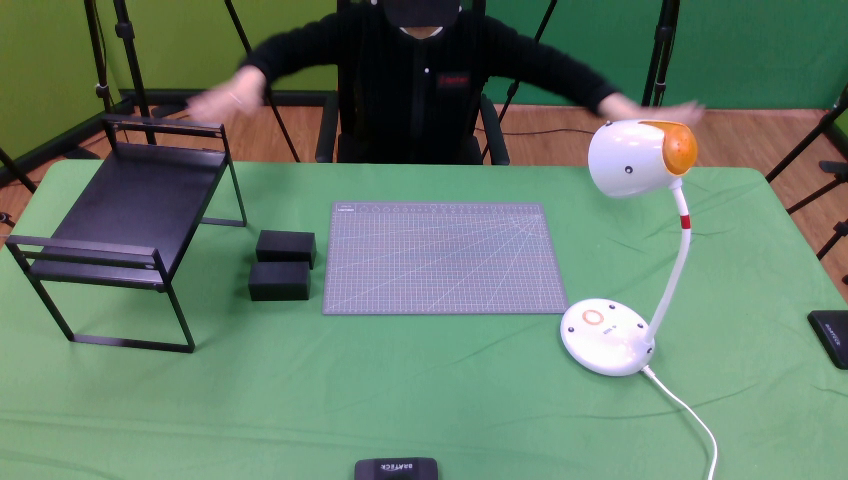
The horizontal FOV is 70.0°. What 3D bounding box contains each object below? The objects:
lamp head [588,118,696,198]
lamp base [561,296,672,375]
[{"bbox_3d":[0.304,-0.113,0.823,0.112,0.112,0.122,-26,16,-25],"label":"lamp head"},{"bbox_3d":[0.332,0.119,0.996,0.160,0.181,0.178,-34,59,-31],"label":"lamp base"}]
